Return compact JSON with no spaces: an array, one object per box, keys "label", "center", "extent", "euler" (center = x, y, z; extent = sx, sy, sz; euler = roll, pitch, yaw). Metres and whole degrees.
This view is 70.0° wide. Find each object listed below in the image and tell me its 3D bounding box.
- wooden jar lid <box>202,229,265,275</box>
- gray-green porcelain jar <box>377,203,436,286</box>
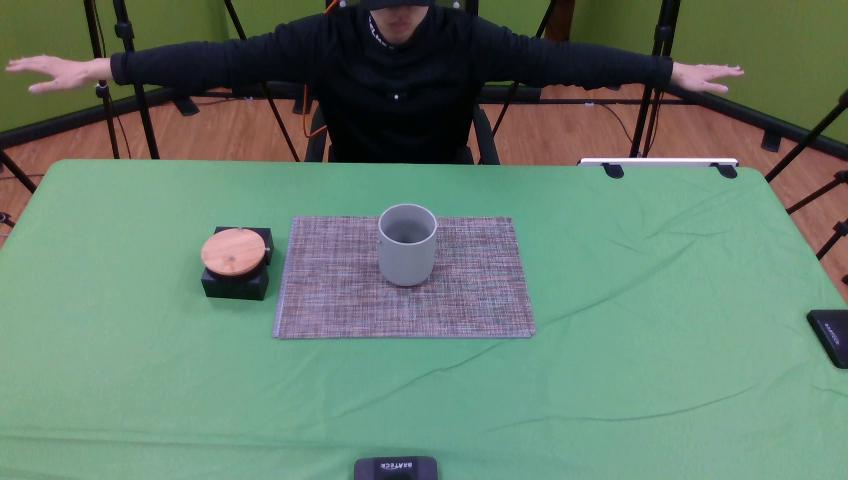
[{"label":"wooden jar lid","center":[-0.340,0.023,1.084],"extent":[0.108,0.021,0.107],"euler":[3,45,-2]},{"label":"gray-green porcelain jar","center":[-0.033,0.014,1.106],"extent":[0.106,0.127,0.105],"euler":[2,46,-2]}]
